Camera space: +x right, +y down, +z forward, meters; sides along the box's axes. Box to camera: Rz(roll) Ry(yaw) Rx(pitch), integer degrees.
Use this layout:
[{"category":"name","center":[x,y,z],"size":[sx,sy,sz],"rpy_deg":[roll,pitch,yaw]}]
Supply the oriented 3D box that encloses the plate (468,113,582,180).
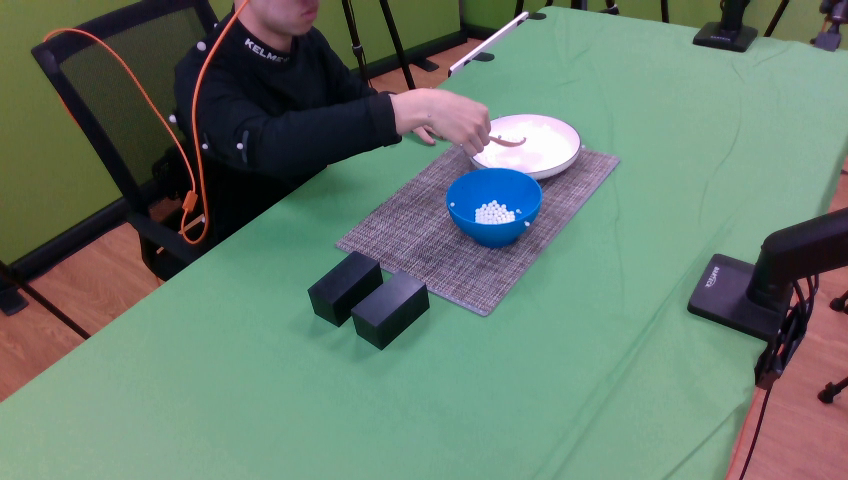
[{"category":"plate","center":[0.186,-0.169,1.122],"size":[0.207,0.039,0.206],"rpy_deg":[-4,41,4]}]

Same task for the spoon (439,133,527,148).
[{"category":"spoon","center":[0.102,-0.174,1.036],"size":[0.195,0.021,0.041],"rpy_deg":[-1,17,-38]}]

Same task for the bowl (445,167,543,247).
[{"category":"bowl","center":[0.111,-0.042,0.952],"size":[0.151,0.077,0.150],"rpy_deg":[-4,41,4]}]
